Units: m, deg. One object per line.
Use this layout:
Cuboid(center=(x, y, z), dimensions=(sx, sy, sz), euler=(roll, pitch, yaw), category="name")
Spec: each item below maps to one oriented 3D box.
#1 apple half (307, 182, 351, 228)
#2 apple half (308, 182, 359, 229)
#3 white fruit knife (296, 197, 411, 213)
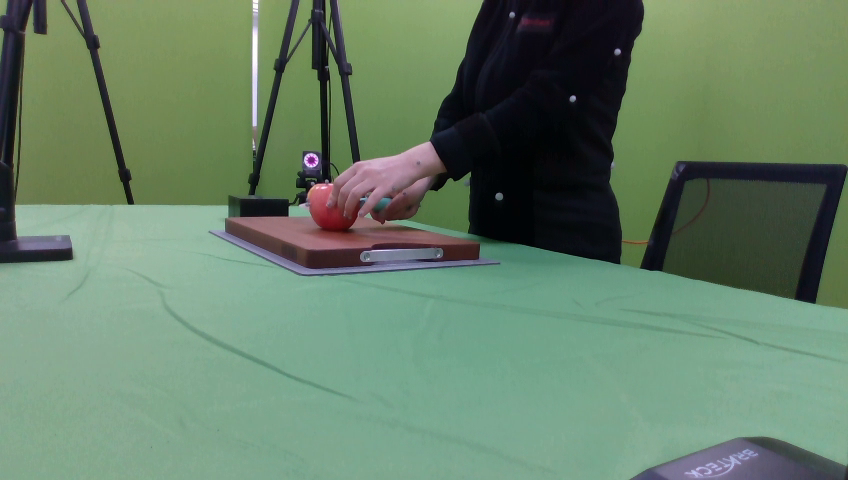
Cuboid(center=(-0.159, -0.057, 0.982), dimensions=(0.082, 0.081, 0.032), euler=(-3, 6, -35), category="apple half")
Cuboid(center=(-0.136, -0.053, 0.950), dimensions=(0.081, 0.074, 0.053), euler=(-1, 13, -36), category="apple half")
Cuboid(center=(-0.111, -0.058, 0.996), dimensions=(0.208, 0.027, 0.016), euler=(-2, 1, -34), category="white fruit knife")
